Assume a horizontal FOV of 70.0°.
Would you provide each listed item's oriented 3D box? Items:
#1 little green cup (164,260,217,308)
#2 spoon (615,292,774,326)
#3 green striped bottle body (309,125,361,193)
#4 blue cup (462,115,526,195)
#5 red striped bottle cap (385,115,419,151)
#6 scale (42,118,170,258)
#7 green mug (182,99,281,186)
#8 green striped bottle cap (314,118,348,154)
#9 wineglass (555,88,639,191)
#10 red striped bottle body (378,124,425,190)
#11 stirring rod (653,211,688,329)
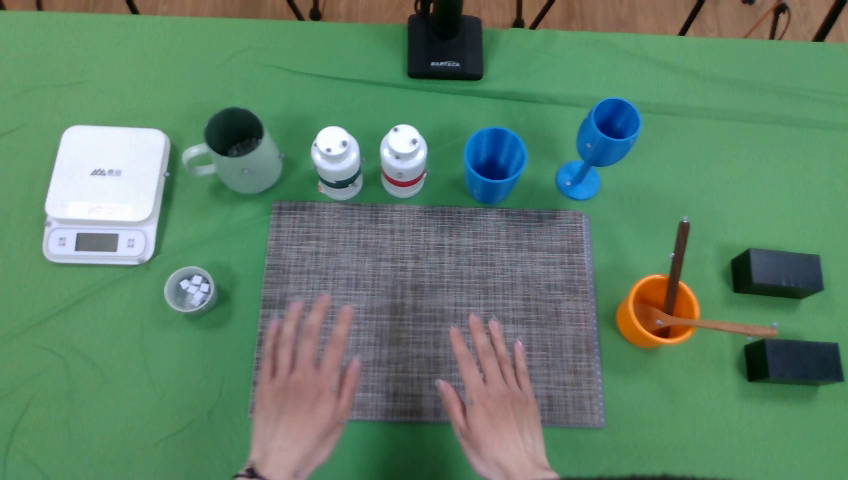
[{"bbox_3d":[-0.305,0.061,0.800,0.061,0.039,0.061,2,71,-4],"label":"little green cup"},{"bbox_3d":[0.335,0.093,0.767,0.022,0.192,0.041,26,74,-40],"label":"spoon"},{"bbox_3d":[-0.121,-0.116,0.827,0.063,0.120,0.063,1,70,-2],"label":"green striped bottle body"},{"bbox_3d":[0.093,-0.109,0.847,0.093,0.101,0.092,0,71,-1],"label":"blue cup"},{"bbox_3d":[-0.028,-0.139,0.784,0.044,0.018,0.044,1,73,-2],"label":"red striped bottle cap"},{"bbox_3d":[-0.441,-0.074,0.841,0.149,0.032,0.199,2,72,-2],"label":"scale"},{"bbox_3d":[-0.266,-0.126,0.831,0.125,0.105,0.092,-19,73,-9],"label":"green mug"},{"bbox_3d":[-0.120,-0.134,0.778,0.044,0.020,0.044,1,70,-3],"label":"green striped bottle cap"},{"bbox_3d":[0.231,-0.131,0.824,0.074,0.173,0.073,1,71,-2],"label":"wineglass"},{"bbox_3d":[-0.031,-0.121,0.834,0.063,0.120,0.062,1,71,-3],"label":"red striped bottle body"},{"bbox_3d":[0.317,0.043,0.783,0.014,0.177,0.006,6,30,13],"label":"stirring rod"}]
